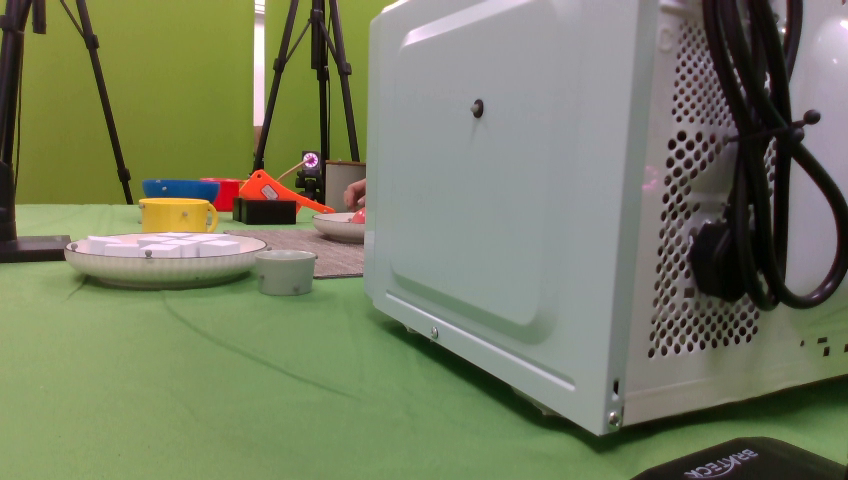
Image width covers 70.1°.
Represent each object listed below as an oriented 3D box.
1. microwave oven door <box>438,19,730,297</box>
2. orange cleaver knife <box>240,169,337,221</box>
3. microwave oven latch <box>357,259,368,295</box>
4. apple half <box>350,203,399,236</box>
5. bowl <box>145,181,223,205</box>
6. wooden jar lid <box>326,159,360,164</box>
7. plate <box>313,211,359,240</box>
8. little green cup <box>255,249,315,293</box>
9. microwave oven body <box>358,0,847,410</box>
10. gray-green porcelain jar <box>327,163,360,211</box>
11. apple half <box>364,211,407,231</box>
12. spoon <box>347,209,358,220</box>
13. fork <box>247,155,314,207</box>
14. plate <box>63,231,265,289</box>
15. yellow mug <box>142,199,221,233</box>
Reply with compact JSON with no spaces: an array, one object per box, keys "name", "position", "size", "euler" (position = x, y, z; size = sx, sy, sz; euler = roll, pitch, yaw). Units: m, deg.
[{"name":"microwave oven door","position":[0.181,-0.076,0.618],"size":[0.358,0.243,0.039],"euler":[-2,8,-28]},{"name":"orange cleaver knife","position":[-0.287,-0.082,1.299],"size":[0.212,0.077,0.012],"euler":[25,-2,-31]},{"name":"microwave oven latch","position":[-0.019,0.031,0.529],"size":[0.079,0.029,0.030],"euler":[-1,7,-26]},{"name":"apple half","position":[-0.082,-0.036,1.024],"size":[0.081,0.053,0.074],"euler":[-3,11,-33]},{"name":"bowl","position":[-0.499,-0.081,1.261],"size":[0.151,0.077,0.151],"euler":[2,8,0]},{"name":"wooden jar lid","position":[-0.185,-0.187,1.481],"size":[0.108,0.020,0.108],"euler":[4,6,0]},{"name":"plate","position":[-0.090,-0.026,1.063],"size":[0.209,0.038,0.209],"euler":[2,7,0]},{"name":"little green cup","position":[-0.144,0.032,0.627],"size":[0.061,0.038,0.061],"euler":[2,5,0]},{"name":"microwave oven body","position":[0.210,-0.051,0.471],"size":[0.444,0.260,0.324],"euler":[-1,7,-28]},{"name":"gray-green porcelain jar","position":[-0.187,-0.125,1.490],"size":[0.106,0.126,0.106],"euler":[2,8,0]},{"name":"apple half","position":[-0.068,-0.037,1.104],"size":[0.081,0.033,0.081],"euler":[-1,9,0]},{"name":"spoon","position":[-0.123,-0.047,1.117],"size":[0.041,0.021,0.194],"euler":[-8,17,19]},{"name":"fork","position":[-0.360,-0.147,1.522],"size":[0.207,0.018,0.028],"euler":[-43,7,-7]},{"name":"plate","position":[-0.288,0.021,0.687],"size":[0.208,0.039,0.207],"euler":[2,8,0]},{"name":"yellow mug","position":[-0.373,-0.030,0.948],"size":[0.099,0.064,0.131],"euler":[5,7,30]}]
